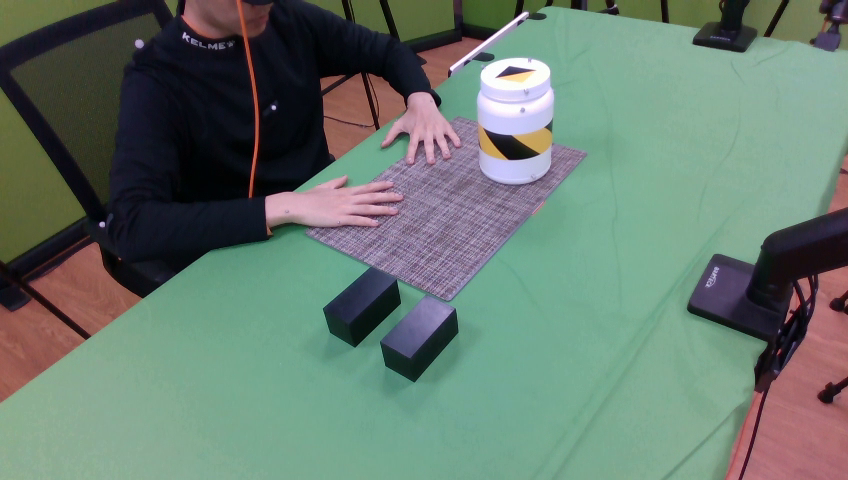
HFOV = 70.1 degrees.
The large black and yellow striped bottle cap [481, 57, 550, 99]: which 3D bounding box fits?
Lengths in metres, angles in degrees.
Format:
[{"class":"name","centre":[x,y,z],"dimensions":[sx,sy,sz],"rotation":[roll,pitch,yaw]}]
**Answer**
[{"class":"large black and yellow striped bottle cap","centre":[0.151,-0.269,1.001],"dimensions":[0.115,0.019,0.114],"rotation":[-4,42,4]}]

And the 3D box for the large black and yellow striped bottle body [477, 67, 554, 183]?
[{"class":"large black and yellow striped bottle body","centre":[0.159,-0.206,1.054],"dimensions":[0.131,0.185,0.130],"rotation":[-4,41,4]}]
